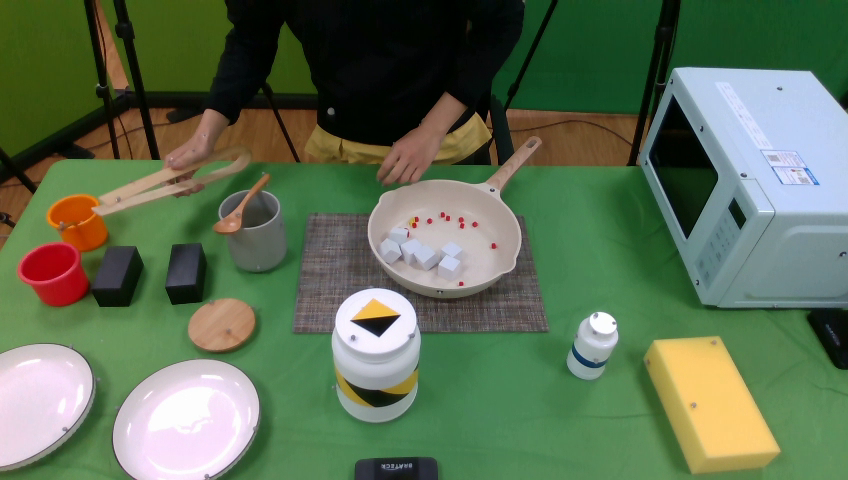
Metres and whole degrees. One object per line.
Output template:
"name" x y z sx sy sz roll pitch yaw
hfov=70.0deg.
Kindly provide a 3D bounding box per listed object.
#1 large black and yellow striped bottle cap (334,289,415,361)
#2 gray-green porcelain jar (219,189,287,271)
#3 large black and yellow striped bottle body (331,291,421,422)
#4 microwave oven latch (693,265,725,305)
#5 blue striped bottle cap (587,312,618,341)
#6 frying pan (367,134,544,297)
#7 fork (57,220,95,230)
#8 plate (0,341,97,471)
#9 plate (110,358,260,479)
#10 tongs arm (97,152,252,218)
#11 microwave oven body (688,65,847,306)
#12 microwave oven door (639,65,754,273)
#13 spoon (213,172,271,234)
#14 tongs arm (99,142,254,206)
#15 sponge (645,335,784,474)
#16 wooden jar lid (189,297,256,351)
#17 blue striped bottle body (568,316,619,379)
"large black and yellow striped bottle cap" -0.069 0.117 0.850 0.115 0.019 0.114 2 45 -2
"gray-green porcelain jar" -0.310 -0.014 1.113 0.106 0.127 0.105 2 46 -2
"large black and yellow striped bottle body" -0.071 0.175 0.911 0.131 0.185 0.130 2 47 -2
"microwave oven latch" 0.523 0.081 1.116 0.030 0.029 0.078 2 46 -1
"blue striped bottle cap" 0.279 0.134 0.947 0.044 0.021 0.044 2 45 -2
"frying pan" 0.104 -0.069 1.205 0.305 0.103 0.487 32 61 23
"fork" -0.624 -0.027 1.087 0.028 0.207 0.018 -3 91 -17
"plate" -0.599 0.247 0.904 0.209 0.038 0.208 2 47 -2
"plate" -0.349 0.273 0.899 0.208 0.039 0.206 2 46 -2
"tongs arm" -0.457 -0.109 1.156 0.027 0.028 0.387 28 28 10
"microwave oven body" 0.669 -0.111 1.176 0.326 0.261 0.439 0 46 -3
"microwave oven door" 0.522 -0.147 1.192 0.039 0.245 0.353 0 47 -3
"spoon" -0.313 -0.069 1.068 0.041 0.022 0.193 9 43 12
"tongs arm" -0.448 -0.125 1.147 0.026 0.051 0.384 31 34 8
"sponge" 0.449 0.253 0.956 0.118 0.061 0.205 -4 46 -7
"wooden jar lid" -0.342 0.145 1.033 0.108 0.021 0.107 2 45 -2
"blue striped bottle body" 0.276 0.169 0.984 0.063 0.121 0.062 2 46 -2
